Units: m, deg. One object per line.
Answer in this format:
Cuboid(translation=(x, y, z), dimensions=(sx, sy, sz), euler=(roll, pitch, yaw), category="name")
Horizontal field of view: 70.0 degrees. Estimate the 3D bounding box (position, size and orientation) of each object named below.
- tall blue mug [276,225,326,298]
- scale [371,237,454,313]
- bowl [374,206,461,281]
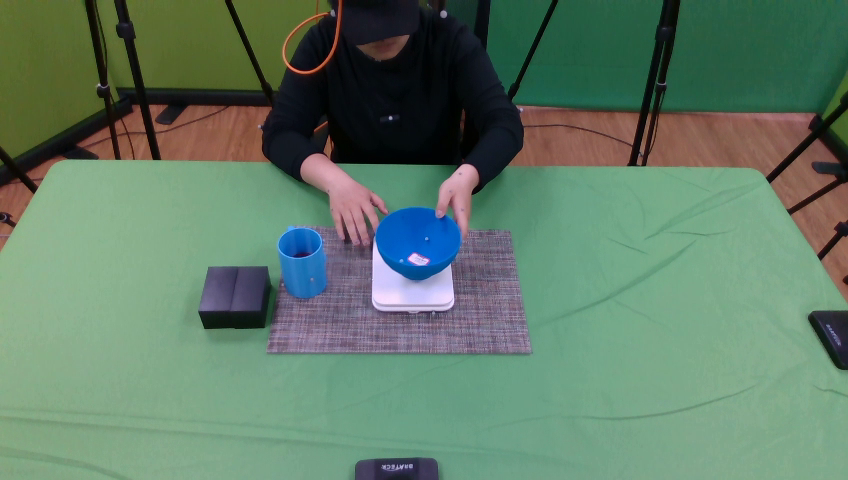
Cuboid(translation=(-0.228, 0.033, 1.083), dimensions=(0.107, 0.108, 0.077), euler=(30, 52, 23), category="tall blue mug")
Cuboid(translation=(-0.023, 0.051, 1.134), dimensions=(0.149, 0.032, 0.199), euler=(1, 46, -4), category="scale")
Cuboid(translation=(-0.012, 0.018, 1.063), dimensions=(0.151, 0.077, 0.150), euler=(2, 44, -2), category="bowl")
